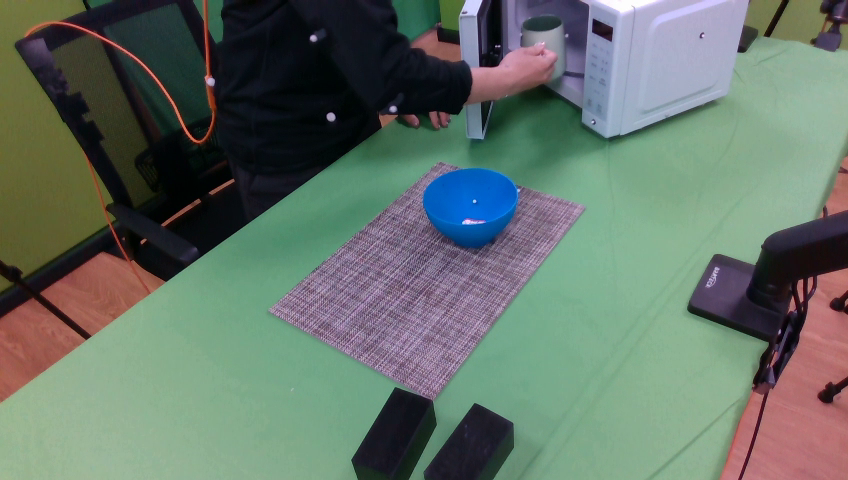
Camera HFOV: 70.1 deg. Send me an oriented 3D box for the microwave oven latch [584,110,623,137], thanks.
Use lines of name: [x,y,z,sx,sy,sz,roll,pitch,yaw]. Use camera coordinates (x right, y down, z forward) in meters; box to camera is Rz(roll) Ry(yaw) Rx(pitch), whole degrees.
microwave oven latch: [0.337,-0.222,1.142,0.030,0.029,0.078,-21,42,-14]

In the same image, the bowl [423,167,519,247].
bowl: [0.075,-0.041,0.959,0.151,0.077,0.150,-4,40,4]

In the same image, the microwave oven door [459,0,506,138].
microwave oven door: [0.124,-0.404,1.226,0.039,0.245,0.355,2,42,13]

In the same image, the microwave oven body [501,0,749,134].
microwave oven body: [0.382,-0.445,1.246,0.327,0.261,0.437,-22,42,-16]

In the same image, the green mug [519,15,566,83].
green mug: [0.225,-0.358,1.163,0.092,0.105,0.125,4,44,16]
